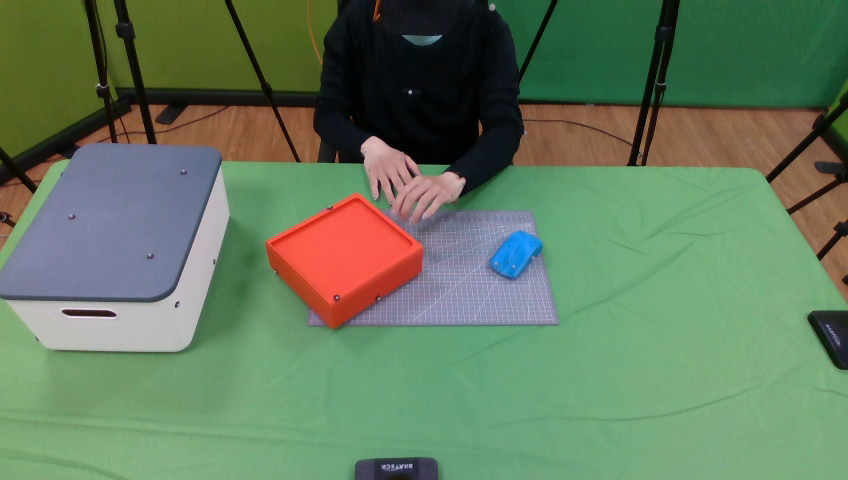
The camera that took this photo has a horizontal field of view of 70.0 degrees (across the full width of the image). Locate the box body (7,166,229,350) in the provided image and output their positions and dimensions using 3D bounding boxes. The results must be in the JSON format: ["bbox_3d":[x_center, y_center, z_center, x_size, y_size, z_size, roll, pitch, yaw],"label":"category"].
[{"bbox_3d":[-0.502,0.008,1.054,0.254,0.161,0.361,1,46,-3],"label":"box body"}]

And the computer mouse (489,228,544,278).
[{"bbox_3d":[0.180,0.022,1.175,0.062,0.041,0.117,33,57,23],"label":"computer mouse"}]

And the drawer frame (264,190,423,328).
[{"bbox_3d":[-0.144,0.028,1.114,0.213,0.083,0.200,-34,57,-29],"label":"drawer frame"}]

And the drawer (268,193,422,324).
[{"bbox_3d":[-0.143,0.029,1.117,0.212,0.073,0.193,-33,57,-29],"label":"drawer"}]

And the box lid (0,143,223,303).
[{"bbox_3d":[-0.499,-0.045,1.002,0.263,0.015,0.369,2,46,-3],"label":"box lid"}]
